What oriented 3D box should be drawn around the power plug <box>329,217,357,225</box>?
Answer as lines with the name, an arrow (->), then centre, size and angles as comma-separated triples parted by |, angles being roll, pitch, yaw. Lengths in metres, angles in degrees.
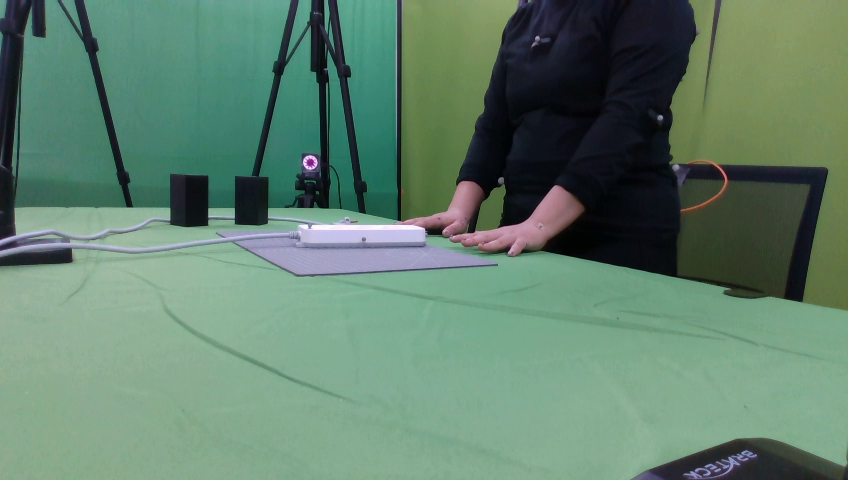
power plug -> -0.149, -0.031, 1.126 | 0.053, 0.035, 0.072 | -3, 19, -16

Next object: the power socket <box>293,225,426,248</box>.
power socket -> -0.104, -0.008, 1.003 | 0.228, 0.032, 0.072 | -1, 7, -23
